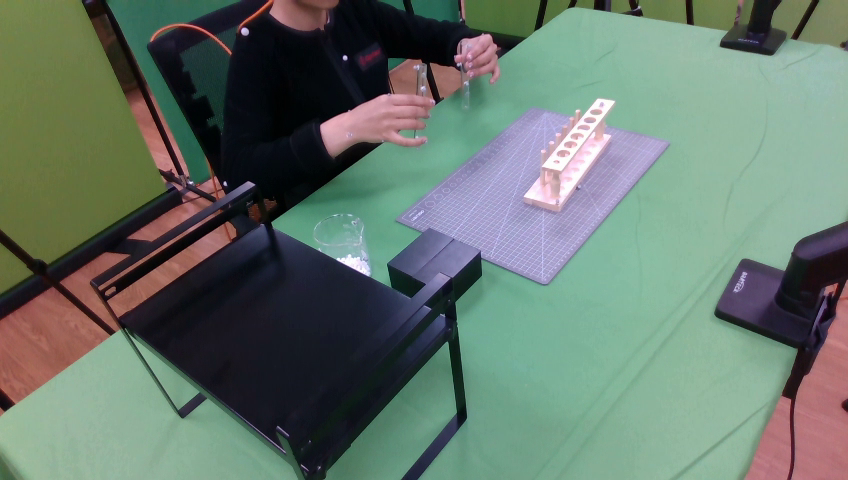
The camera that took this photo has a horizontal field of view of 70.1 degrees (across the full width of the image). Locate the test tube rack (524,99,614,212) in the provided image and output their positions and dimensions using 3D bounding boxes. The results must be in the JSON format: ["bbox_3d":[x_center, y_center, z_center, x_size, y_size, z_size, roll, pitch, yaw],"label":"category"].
[{"bbox_3d":[0.259,-0.158,1.069,0.066,0.085,0.243,19,47,28],"label":"test tube rack"}]

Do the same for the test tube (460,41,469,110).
[{"bbox_3d":[0.078,-0.312,1.160,0.017,0.151,0.017,-2,49,3],"label":"test tube"}]

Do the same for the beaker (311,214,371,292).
[{"bbox_3d":[-0.118,0.022,0.908,0.083,0.101,0.074,26,51,32],"label":"beaker"}]

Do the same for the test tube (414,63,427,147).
[{"bbox_3d":[-0.007,-0.229,1.041,0.017,0.150,0.017,3,35,-2],"label":"test tube"}]
